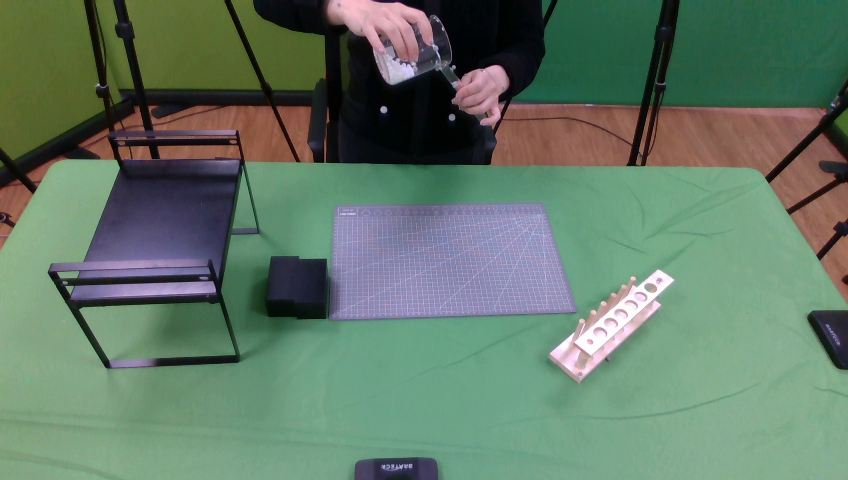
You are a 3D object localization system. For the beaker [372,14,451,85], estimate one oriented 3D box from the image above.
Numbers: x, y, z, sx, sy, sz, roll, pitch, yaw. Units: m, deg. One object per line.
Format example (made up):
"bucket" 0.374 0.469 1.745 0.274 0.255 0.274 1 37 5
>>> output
"beaker" -0.020 -0.278 0.900 0.100 0.084 0.073 -24 47 -10

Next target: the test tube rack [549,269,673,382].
"test tube rack" 0.325 0.134 1.047 0.242 0.085 0.066 -32 56 -30

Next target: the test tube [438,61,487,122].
"test tube" 0.066 -0.239 0.991 0.017 0.151 0.017 -16 57 27
